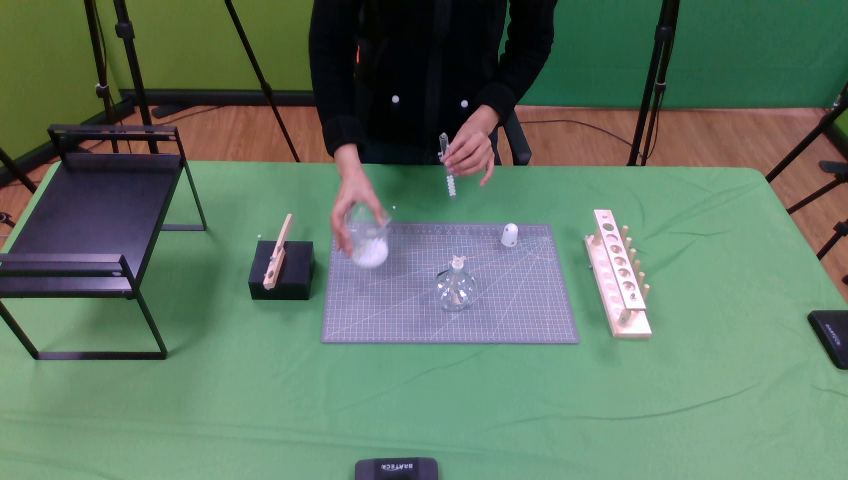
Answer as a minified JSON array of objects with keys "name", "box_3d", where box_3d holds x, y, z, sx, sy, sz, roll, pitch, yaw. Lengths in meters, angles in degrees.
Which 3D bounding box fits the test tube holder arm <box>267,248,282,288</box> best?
[{"name":"test tube holder arm","box_3d":[-0.262,0.048,1.068,0.010,0.015,0.087,4,45,-3]}]

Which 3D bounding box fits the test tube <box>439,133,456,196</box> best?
[{"name":"test tube","box_3d":[0.045,-0.139,1.148,0.017,0.151,0.017,-6,48,6]}]

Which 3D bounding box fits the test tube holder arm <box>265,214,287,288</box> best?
[{"name":"test tube holder arm","box_3d":[-0.268,0.016,1.099,0.013,0.015,0.177,2,45,-4]}]

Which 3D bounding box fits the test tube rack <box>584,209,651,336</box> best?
[{"name":"test tube rack","box_3d":[0.365,0.056,1.129,0.067,0.085,0.240,0,46,-3]}]

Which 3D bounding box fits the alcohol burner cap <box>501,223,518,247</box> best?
[{"name":"alcohol burner cap","box_3d":[0.172,-0.013,1.207,0.034,0.048,0.033,1,45,-1]}]

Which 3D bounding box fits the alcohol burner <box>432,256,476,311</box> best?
[{"name":"alcohol burner","box_3d":[0.055,0.070,1.068,0.078,0.119,0.077,4,45,-3]}]

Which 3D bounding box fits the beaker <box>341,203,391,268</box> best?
[{"name":"beaker","box_3d":[-0.098,-0.005,1.063,0.084,0.101,0.073,-7,51,-5]}]
